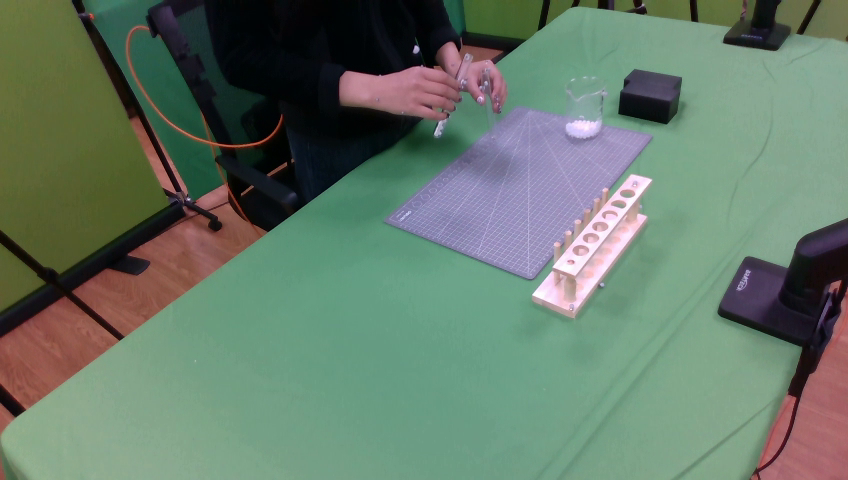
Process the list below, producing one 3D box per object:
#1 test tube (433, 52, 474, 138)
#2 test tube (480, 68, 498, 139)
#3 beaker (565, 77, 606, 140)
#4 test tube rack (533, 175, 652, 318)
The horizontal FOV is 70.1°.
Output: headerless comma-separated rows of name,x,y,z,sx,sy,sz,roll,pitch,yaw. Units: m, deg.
test tube,0.048,-0.243,1.021,0.017,0.150,0.017,22,15,-6
test tube,0.120,-0.245,1.102,0.017,0.151,0.017,-8,47,9
beaker,0.304,-0.247,1.153,0.073,0.101,0.084,15,46,27
test tube rack,0.251,-0.001,0.889,0.066,0.085,0.243,22,49,33
